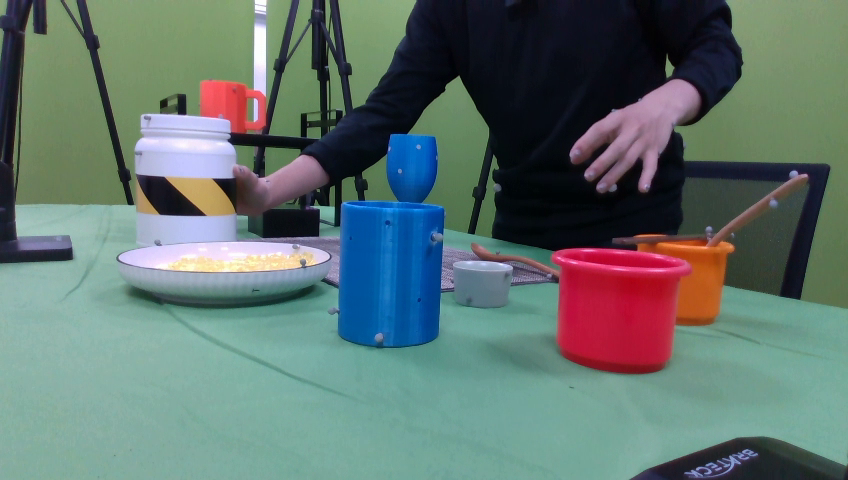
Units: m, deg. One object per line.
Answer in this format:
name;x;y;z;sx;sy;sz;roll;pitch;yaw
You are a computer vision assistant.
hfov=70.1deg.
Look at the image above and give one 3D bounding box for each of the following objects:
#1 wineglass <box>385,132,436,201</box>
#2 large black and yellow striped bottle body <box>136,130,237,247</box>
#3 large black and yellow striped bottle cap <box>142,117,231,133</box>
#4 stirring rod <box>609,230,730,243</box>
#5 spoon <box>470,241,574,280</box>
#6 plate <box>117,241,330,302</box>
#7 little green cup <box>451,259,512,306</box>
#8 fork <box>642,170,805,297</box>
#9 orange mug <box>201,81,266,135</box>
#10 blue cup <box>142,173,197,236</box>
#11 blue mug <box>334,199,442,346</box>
wineglass;-0.020;-0.061;0.838;0.074;0.172;0.073;2;7;0
large black and yellow striped bottle body;-0.332;-0.076;0.851;0.131;0.184;0.130;2;8;0
large black and yellow striped bottle cap;-0.328;-0.159;0.839;0.115;0.019;0.115;1;9;0
stirring rod;0.241;-0.004;0.582;0.177;0.006;0.014;-4;10;-33
spoon;0.124;0.025;0.800;0.042;0.021;0.192;24;-6;-34
plate;-0.203;0.031;0.629;0.209;0.038;0.209;3;7;0
little green cup;0.057;0.043;0.612;0.061;0.038;0.061;3;8;0
fork;0.261;0.004;0.545;0.028;0.018;0.207;5;-37;-15
orange mug;-0.376;-0.260;1.198;0.126;0.101;0.083;-3;8;-6
blue cup;-0.425;-0.060;1.013;0.093;0.100;0.092;3;9;0
blue mug;-0.034;0.020;0.498;0.083;0.106;0.116;0;7;-19
